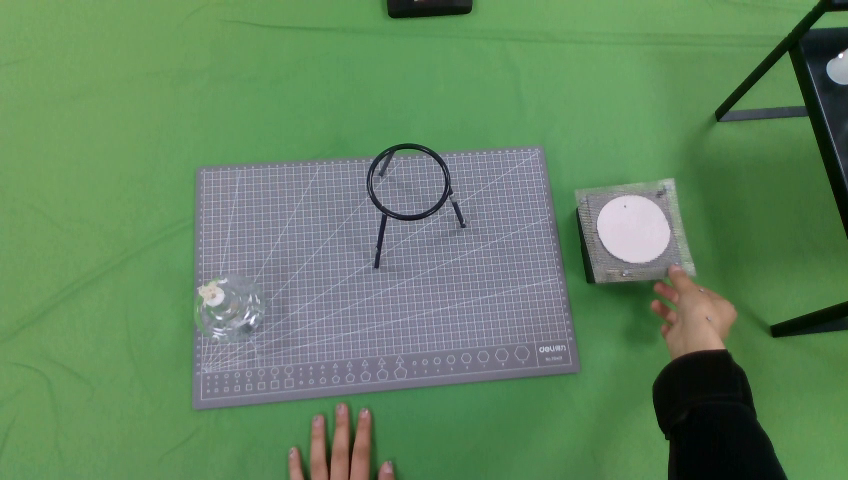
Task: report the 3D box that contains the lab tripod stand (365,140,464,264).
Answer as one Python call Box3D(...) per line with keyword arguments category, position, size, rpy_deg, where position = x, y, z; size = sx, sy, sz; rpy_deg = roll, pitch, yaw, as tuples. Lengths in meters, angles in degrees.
Box3D(category="lab tripod stand", position=(-0.022, -0.050, 0.702), size=(0.148, 0.132, 0.147), rpy_deg=(0, 73, -1))

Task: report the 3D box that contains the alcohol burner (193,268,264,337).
Box3D(category="alcohol burner", position=(-0.219, 0.066, 0.665), size=(0.078, 0.119, 0.077), rpy_deg=(1, 74, -3))

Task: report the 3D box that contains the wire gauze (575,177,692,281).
Box3D(category="wire gauze", position=(0.250, -0.014, 0.724), size=(0.125, 0.011, 0.121), rpy_deg=(-5, 76, -4))

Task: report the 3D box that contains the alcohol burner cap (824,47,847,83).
Box3D(category="alcohol burner cap", position=(0.451, -0.190, 0.635), size=(0.034, 0.048, 0.033), rpy_deg=(1, 75, -2))
